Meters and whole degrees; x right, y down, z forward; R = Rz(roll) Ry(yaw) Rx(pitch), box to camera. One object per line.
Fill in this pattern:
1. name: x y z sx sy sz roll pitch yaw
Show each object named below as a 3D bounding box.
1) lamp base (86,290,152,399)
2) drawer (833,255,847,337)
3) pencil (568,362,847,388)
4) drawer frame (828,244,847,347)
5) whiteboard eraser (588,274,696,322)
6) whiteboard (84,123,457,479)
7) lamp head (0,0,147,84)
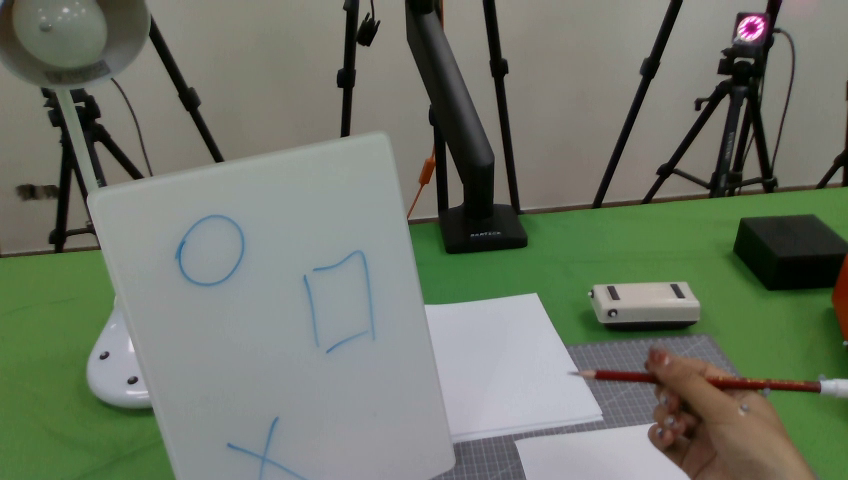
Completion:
1. lamp base: -0.304 0.050 0.647 0.178 0.181 0.160 17 36 33
2. drawer: 0.537 0.101 0.592 0.193 0.074 0.211 7 31 18
3. pencil: 0.199 0.092 0.421 0.194 0.012 0.012 1 31 8
4. drawer frame: 0.536 0.098 0.593 0.201 0.083 0.212 7 31 18
5. whiteboard eraser: 0.254 0.068 0.709 0.113 0.042 0.055 -2 31 2
6. whiteboard: -0.122 0.073 0.528 0.218 0.306 0.143 -17 14 -20
7. lamp head: -0.293 -0.196 0.465 0.112 0.113 0.122 -27 63 -35
